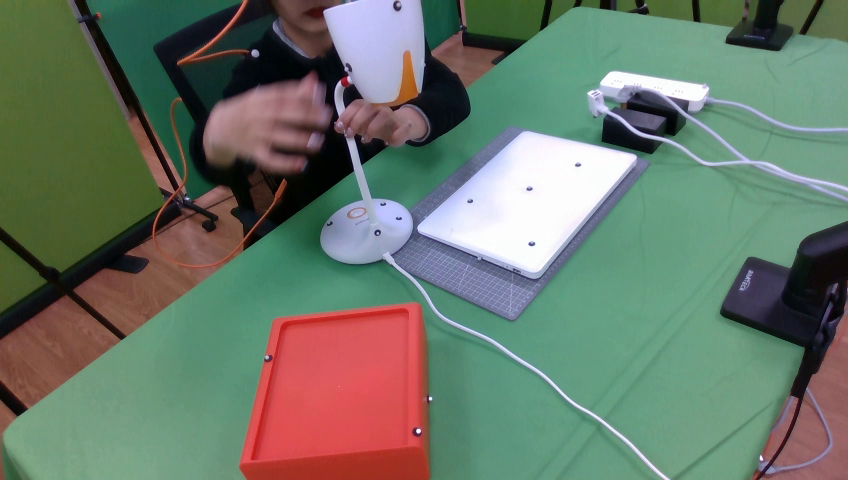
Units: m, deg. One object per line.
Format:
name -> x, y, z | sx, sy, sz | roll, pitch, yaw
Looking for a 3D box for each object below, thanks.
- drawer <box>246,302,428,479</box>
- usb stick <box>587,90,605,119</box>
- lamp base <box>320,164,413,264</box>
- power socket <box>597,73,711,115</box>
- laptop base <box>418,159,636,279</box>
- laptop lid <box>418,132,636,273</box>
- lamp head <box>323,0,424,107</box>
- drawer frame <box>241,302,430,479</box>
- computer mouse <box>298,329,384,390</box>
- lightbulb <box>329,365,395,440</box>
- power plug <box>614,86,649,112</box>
drawer -> -0.097, 0.183, 0.743 | 0.194, 0.073, 0.210 | -6, 40, 3
usb stick -> 0.334, -0.258, 1.170 | 0.021, 0.059, 0.027 | -28, 44, -5
lamp base -> -0.102, -0.069, 0.963 | 0.161, 0.181, 0.177 | -29, 46, -19
power socket -> 0.469, -0.304, 1.249 | 0.225, 0.033, 0.072 | 20, 49, 30
laptop base -> 0.185, -0.074, 1.042 | 0.233, 0.023, 0.355 | 20, 48, 35
laptop lid -> 0.181, -0.084, 1.036 | 0.239, 0.013, 0.358 | 22, 49, 35
lamp head -> -0.051, -0.218, 0.708 | 0.112, 0.123, 0.112 | -9, 24, 4
drawer frame -> -0.095, 0.184, 0.739 | 0.202, 0.083, 0.212 | -7, 40, 3
computer mouse -> -0.111, 0.156, 0.798 | 0.117, 0.041, 0.062 | -15, 41, 1
lightbulb -> -0.080, 0.195, 0.738 | 0.060, 0.060, 0.107 | -32, 61, -25
power plug -> 0.406, -0.275, 1.192 | 0.035, 0.053, 0.072 | -15, 24, -16
